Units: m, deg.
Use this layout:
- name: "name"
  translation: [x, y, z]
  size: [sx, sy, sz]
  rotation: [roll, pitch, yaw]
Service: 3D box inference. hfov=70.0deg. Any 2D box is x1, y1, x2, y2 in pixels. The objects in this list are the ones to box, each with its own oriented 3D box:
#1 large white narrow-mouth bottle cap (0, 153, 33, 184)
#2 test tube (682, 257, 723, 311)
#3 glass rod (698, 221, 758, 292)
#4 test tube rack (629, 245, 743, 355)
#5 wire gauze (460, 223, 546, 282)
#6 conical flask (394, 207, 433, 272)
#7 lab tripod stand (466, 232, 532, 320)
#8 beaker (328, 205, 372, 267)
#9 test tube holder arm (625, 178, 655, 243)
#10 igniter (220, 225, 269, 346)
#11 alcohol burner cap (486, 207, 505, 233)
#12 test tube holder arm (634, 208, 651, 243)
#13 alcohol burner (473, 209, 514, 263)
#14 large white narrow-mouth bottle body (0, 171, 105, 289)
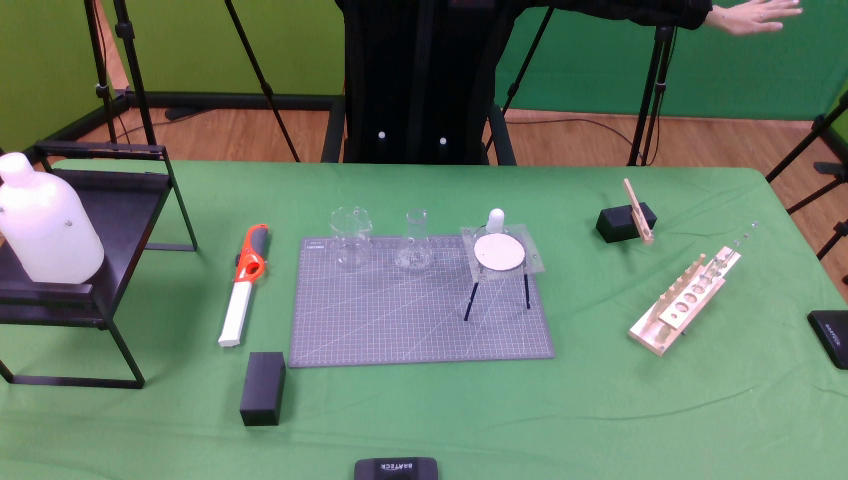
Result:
- name: "large white narrow-mouth bottle cap"
  translation: [-0.510, -0.089, 0.754]
  size: [0.038, 0.024, 0.037]
  rotation: [2, 46, -2]
- name: "test tube"
  translation: [0.475, 0.080, 1.037]
  size: [0.017, 0.151, 0.017]
  rotation: [1, 50, -1]
- name: "glass rod"
  translation: [0.527, 0.035, 1.059]
  size: [0.008, 0.200, 0.008]
  rotation: [5, 49, -6]
- name: "test tube rack"
  translation: [0.474, 0.095, 1.091]
  size: [0.242, 0.085, 0.066]
  rotation: [-34, 56, -31]
- name: "wire gauze"
  translation: [0.131, 0.016, 1.015]
  size: [0.121, 0.011, 0.124]
  rotation: [-5, 45, -8]
- name: "conical flask"
  translation: [-0.017, -0.005, 1.125]
  size: [0.075, 0.122, 0.075]
  rotation: [2, 46, -2]
- name: "lab tripod stand"
  translation: [0.125, 0.059, 1.065]
  size: [0.148, 0.132, 0.147]
  rotation: [1, 45, 0]
- name: "beaker"
  translation: [-0.135, -0.004, 1.132]
  size: [0.084, 0.101, 0.073]
  rotation: [18, 48, 12]
- name: "test tube holder arm"
  translation: [0.433, -0.063, 1.220]
  size: [0.013, 0.015, 0.177]
  rotation: [1, 47, -3]
- name: "igniter"
  translation: [-0.323, 0.072, 1.100]
  size: [0.057, 0.025, 0.275]
  rotation: [-6, 46, 5]
- name: "alcohol burner cap"
  translation: [0.135, -0.039, 1.125]
  size: [0.034, 0.048, 0.033]
  rotation: [4, 42, -4]
- name: "test tube holder arm"
  translation: [0.428, -0.030, 1.189]
  size: [0.010, 0.015, 0.087]
  rotation: [1, 47, -2]
- name: "alcohol burner"
  translation: [0.134, -0.013, 1.150]
  size: [0.078, 0.120, 0.077]
  rotation: [0, 47, 0]
- name: "large white narrow-mouth bottle body"
  translation: [-0.513, -0.029, 0.818]
  size: [0.102, 0.195, 0.101]
  rotation: [2, 46, -2]
